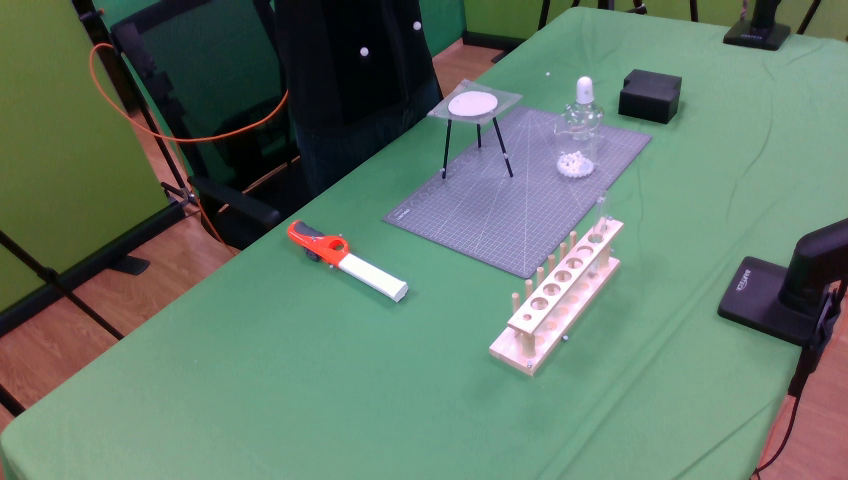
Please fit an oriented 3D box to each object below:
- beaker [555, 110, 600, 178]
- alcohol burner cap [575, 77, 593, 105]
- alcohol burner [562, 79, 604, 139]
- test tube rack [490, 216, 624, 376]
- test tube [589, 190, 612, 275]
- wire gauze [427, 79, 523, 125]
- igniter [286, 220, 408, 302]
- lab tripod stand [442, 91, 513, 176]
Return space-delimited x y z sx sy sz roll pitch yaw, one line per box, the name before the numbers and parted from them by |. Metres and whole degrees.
beaker | 0.266 -0.165 1.061 0.084 0.101 0.073 -24 42 -16
alcohol burner cap | 0.297 -0.279 1.123 0.034 0.048 0.033 -8 41 7
alcohol burner | 0.303 -0.253 1.147 0.078 0.119 0.077 -4 41 4
test tube rack | 0.184 0.064 0.822 0.066 0.085 0.243 24 50 33
test tube | 0.238 -0.006 0.817 0.017 0.151 0.017 -4 45 4
wire gauze | 0.088 -0.239 1.050 0.120 0.011 0.125 22 49 30
igniter | -0.134 0.028 0.968 0.274 0.025 0.057 26 61 35
lab tripod stand | 0.096 -0.190 1.096 0.148 0.132 0.147 -4 40 4
